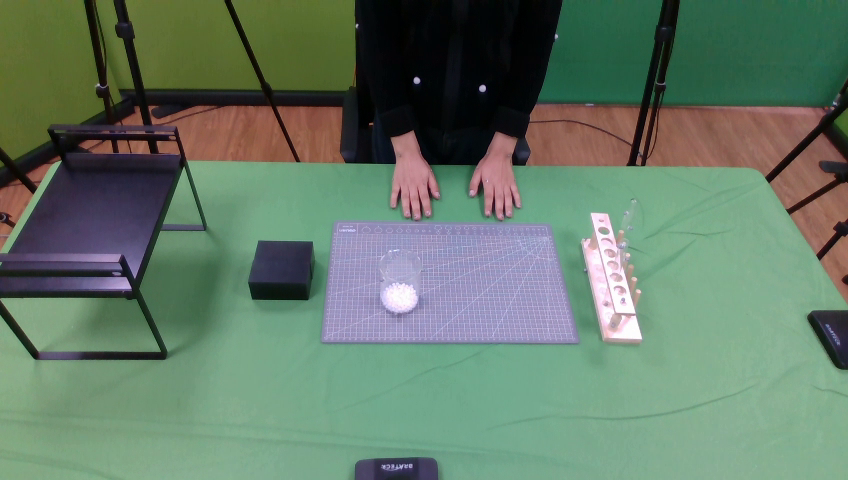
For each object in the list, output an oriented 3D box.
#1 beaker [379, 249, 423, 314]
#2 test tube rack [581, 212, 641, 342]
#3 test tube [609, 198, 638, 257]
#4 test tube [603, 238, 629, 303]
[{"bbox_3d":[-0.044,0.074,1.066,0.074,0.101,0.083,-22,51,-23],"label":"beaker"},{"bbox_3d":[0.351,0.063,1.121,0.067,0.085,0.241,2,46,-1],"label":"test tube rack"},{"bbox_3d":[0.375,-0.021,1.141,0.017,0.151,0.017,2,45,-2],"label":"test tube"},{"bbox_3d":[0.334,0.056,1.058,0.017,0.151,0.017,0,41,0],"label":"test tube"}]
